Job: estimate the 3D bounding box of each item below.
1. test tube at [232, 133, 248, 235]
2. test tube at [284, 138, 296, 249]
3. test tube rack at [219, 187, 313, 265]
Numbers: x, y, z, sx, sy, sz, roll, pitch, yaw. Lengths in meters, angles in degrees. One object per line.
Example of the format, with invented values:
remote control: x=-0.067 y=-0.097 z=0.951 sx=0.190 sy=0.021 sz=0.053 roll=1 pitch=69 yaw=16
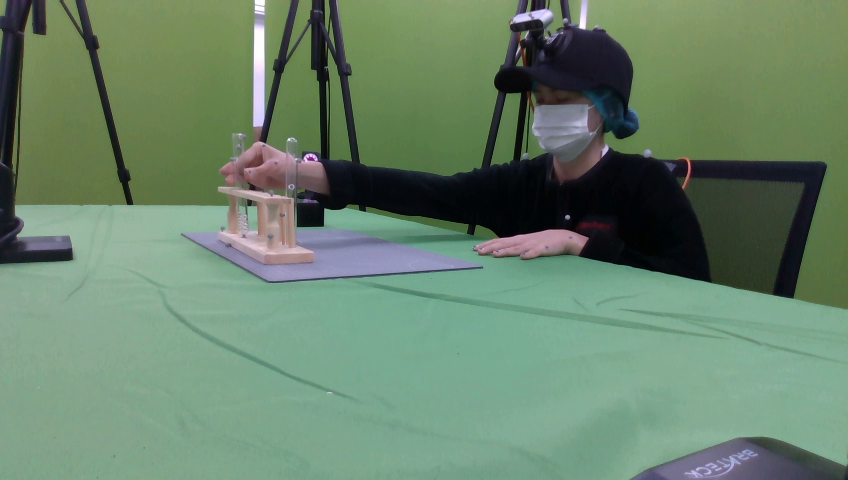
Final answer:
test tube: x=-0.271 y=-0.082 z=0.892 sx=0.017 sy=0.150 sz=0.017 roll=0 pitch=9 yaw=0
test tube: x=-0.181 y=-0.062 z=0.816 sx=0.017 sy=0.150 sz=0.017 roll=2 pitch=7 yaw=0
test tube rack: x=-0.235 y=-0.027 z=0.872 sx=0.067 sy=0.085 sz=0.241 roll=-2 pitch=8 yaw=-31
